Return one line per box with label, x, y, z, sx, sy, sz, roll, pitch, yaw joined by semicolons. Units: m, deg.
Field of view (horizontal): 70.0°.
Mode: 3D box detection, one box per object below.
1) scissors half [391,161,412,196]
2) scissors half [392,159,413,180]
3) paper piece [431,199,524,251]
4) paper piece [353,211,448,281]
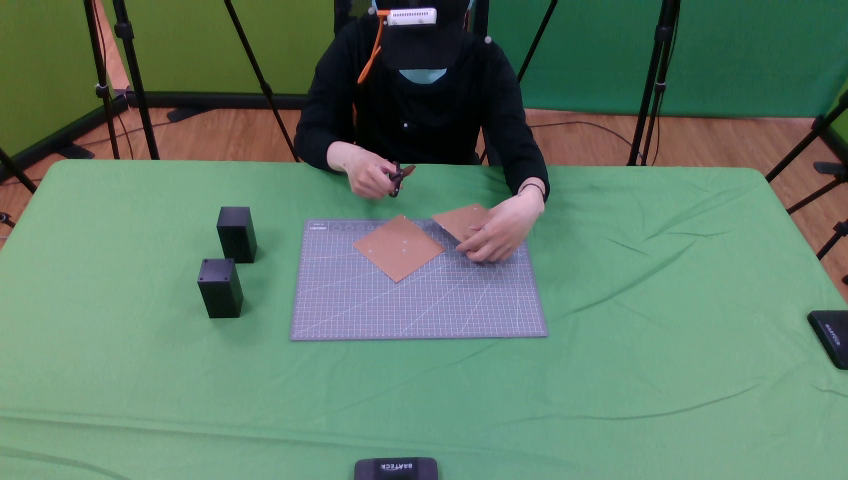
scissors half;-0.043;-0.119;1.147;0.013;0.175;0.040;9;74;-12
scissors half;-0.041;-0.138;1.150;0.013;0.175;0.040;3;90;-13
paper piece;0.107;-0.033;1.217;0.138;0.009;0.135;-20;48;-35
paper piece;-0.047;0.008;1.188;0.135;0.004;0.134;-33;57;-30
